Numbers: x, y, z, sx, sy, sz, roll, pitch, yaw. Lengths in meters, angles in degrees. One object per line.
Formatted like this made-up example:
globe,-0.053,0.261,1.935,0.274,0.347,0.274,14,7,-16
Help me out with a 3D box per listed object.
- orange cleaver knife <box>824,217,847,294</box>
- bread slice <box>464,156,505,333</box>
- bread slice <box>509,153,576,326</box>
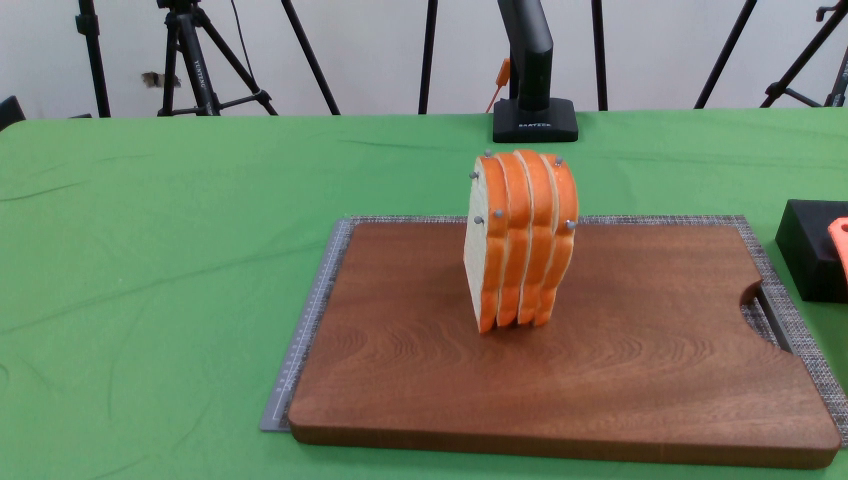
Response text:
orange cleaver knife,0.382,0.059,0.504,0.077,0.012,0.210,11,58,13
bread slice,0.051,-0.004,0.529,0.018,0.135,0.106,-1,33,-4
bread slice,0.102,-0.006,0.527,0.019,0.132,0.104,2,38,-8
